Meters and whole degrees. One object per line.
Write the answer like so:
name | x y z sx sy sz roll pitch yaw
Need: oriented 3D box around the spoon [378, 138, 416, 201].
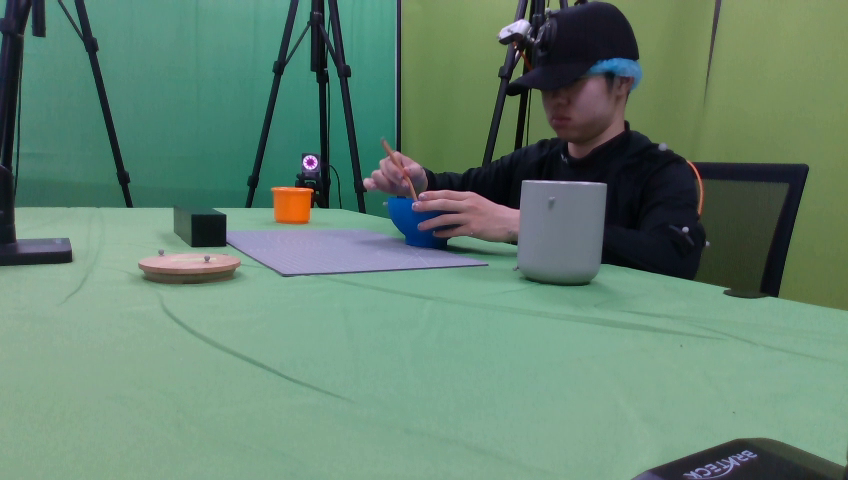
spoon | -0.029 -0.091 1.049 0.021 0.193 0.041 -26 2 2

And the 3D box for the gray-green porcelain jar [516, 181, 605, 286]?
gray-green porcelain jar | 0.172 -0.010 0.768 0.106 0.126 0.106 2 7 0

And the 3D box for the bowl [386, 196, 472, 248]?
bowl | 0.005 -0.030 1.046 0.151 0.077 0.151 6 6 0

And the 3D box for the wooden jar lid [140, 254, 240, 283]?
wooden jar lid | -0.269 0.032 0.698 0.108 0.020 0.108 2 5 0
